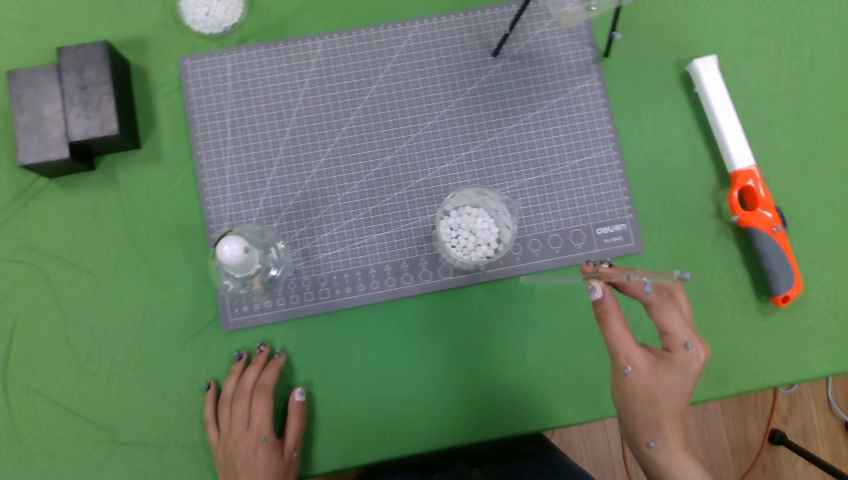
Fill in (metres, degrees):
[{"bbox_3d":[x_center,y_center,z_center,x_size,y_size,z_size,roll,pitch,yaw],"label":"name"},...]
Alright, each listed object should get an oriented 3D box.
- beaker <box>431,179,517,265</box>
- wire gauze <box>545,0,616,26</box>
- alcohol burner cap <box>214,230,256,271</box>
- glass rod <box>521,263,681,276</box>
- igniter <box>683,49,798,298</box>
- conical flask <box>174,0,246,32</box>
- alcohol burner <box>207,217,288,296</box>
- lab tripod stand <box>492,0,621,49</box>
[{"bbox_3d":[0.046,-0.015,0.594,0.084,0.100,0.074,-29,85,-5],"label":"beaker"},{"bbox_3d":[0.145,-0.266,0.543,0.125,0.011,0.121,-27,87,-5],"label":"wire gauze"},{"bbox_3d":[-0.169,0.007,0.539,0.034,0.048,0.033,2,74,-6],"label":"alcohol burner cap"},{"bbox_3d":[0.122,0.024,0.458,0.008,0.199,0.008,1,86,-18],"label":"glass rod"},{"bbox_3d":[0.341,-0.073,0.651,0.057,0.025,0.276,-16,85,-14],"label":"igniter"},{"bbox_3d":[-0.229,-0.267,0.601,0.075,0.122,0.075,0,83,-2],"label":"conical flask"},{"bbox_3d":[-0.171,0.014,0.575,0.078,0.119,0.077,1,81,-3],"label":"alcohol burner"},{"bbox_3d":[0.141,-0.254,0.609,0.148,0.131,0.148,0,84,-3],"label":"lab tripod stand"}]
